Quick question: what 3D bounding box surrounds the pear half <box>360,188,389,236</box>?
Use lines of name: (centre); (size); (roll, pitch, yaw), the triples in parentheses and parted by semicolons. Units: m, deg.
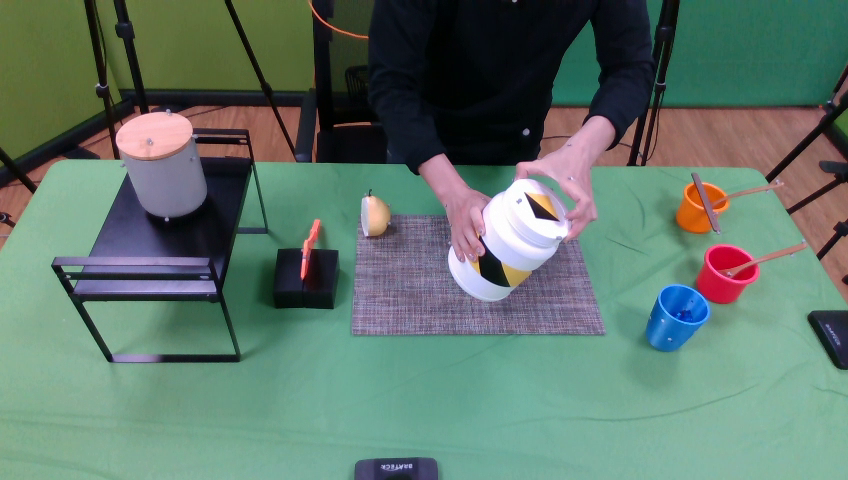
pear half: (-0.096, -0.060, 1.181); (0.056, 0.110, 0.076); (-13, 52, -17)

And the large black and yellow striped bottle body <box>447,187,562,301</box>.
large black and yellow striped bottle body: (0.134, 0.001, 0.976); (0.131, 0.184, 0.130); (19, 47, -21)

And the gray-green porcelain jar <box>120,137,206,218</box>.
gray-green porcelain jar: (-0.403, -0.106, 0.946); (0.106, 0.127, 0.105); (3, 46, -2)

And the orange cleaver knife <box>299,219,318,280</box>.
orange cleaver knife: (-0.214, 0.013, 1.126); (0.012, 0.077, 0.210); (5, 17, -5)

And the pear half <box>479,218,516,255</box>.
pear half: (0.145, -0.013, 1.167); (0.070, 0.031, 0.087); (-21, 56, -19)

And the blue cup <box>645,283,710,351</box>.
blue cup: (0.426, 0.139, 1.040); (0.093, 0.100, 0.092); (4, 46, -4)

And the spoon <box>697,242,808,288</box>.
spoon: (0.601, 0.044, 1.116); (0.194, 0.022, 0.041); (-29, 34, 30)

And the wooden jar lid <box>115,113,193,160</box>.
wooden jar lid: (-0.399, -0.151, 0.900); (0.108, 0.021, 0.107); (3, 46, -3)

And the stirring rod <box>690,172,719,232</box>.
stirring rod: (0.565, -0.080, 1.224); (0.014, 0.006, 0.175); (4, 46, 0)

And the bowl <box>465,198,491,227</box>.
bowl: (0.149, -0.004, 1.167); (0.151, 0.077, 0.150); (3, 46, -3)

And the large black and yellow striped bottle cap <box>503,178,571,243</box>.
large black and yellow striped bottle cap: (0.172, -0.046, 0.917); (0.115, 0.019, 0.114); (20, 46, -22)

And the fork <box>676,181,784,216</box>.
fork: (0.618, -0.083, 1.235); (0.019, 0.207, 0.028); (54, 40, -16)
